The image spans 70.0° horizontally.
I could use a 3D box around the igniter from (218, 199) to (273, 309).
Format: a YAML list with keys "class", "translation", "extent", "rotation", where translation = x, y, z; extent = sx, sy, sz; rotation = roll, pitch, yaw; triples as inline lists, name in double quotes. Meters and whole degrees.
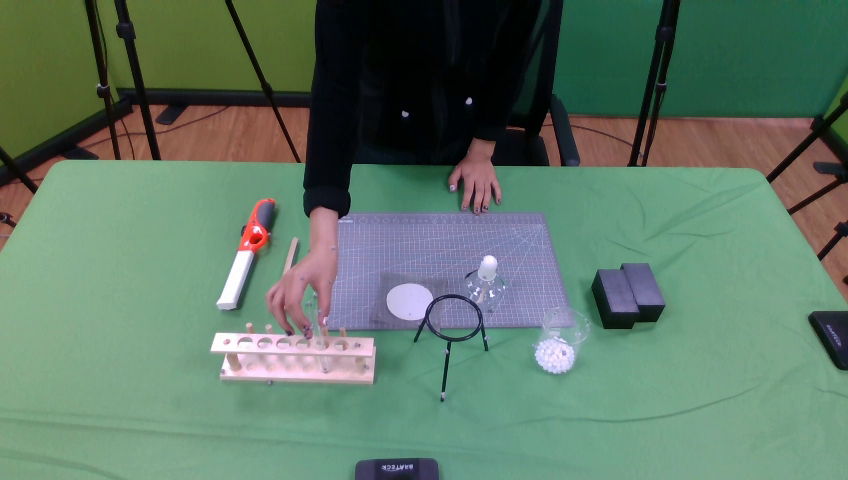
- class: "igniter"
  translation: [-0.335, 0.017, 1.152]
  extent: [0.057, 0.025, 0.275]
  rotation: [-3, 45, 7]

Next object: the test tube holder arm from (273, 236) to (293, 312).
- class: "test tube holder arm"
  translation: [-0.260, 0.058, 1.122]
  extent: [0.013, 0.015, 0.177]
  rotation: [30, 38, -30]

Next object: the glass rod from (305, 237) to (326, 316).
- class: "glass rod"
  translation: [-0.202, 0.063, 1.131]
  extent: [0.008, 0.008, 0.198]
  rotation: [4, 44, 0]

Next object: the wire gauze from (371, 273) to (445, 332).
- class: "wire gauze"
  translation: [-0.028, 0.109, 1.100]
  extent: [0.125, 0.011, 0.121]
  rotation: [7, 45, 4]

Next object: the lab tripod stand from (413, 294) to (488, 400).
- class: "lab tripod stand"
  translation: [0.045, 0.159, 0.972]
  extent: [0.148, 0.132, 0.147]
  rotation: [2, 44, -2]

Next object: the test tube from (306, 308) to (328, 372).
- class: "test tube"
  translation: [-0.161, 0.155, 0.921]
  extent: [0.017, 0.151, 0.017]
  rotation: [0, 46, 0]

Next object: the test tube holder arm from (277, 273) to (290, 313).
- class: "test tube holder arm"
  translation: [-0.254, 0.093, 1.094]
  extent: [0.010, 0.015, 0.087]
  rotation: [31, 38, -29]

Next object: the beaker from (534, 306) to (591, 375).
- class: "beaker"
  translation: [0.226, 0.169, 1.002]
  extent: [0.084, 0.101, 0.073]
  rotation: [-5, 47, -10]

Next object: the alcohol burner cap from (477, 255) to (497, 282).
- class: "alcohol burner cap"
  translation: [0.110, 0.047, 1.046]
  extent: [0.034, 0.048, 0.033]
  rotation: [1, 52, -2]

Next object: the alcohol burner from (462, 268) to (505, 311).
- class: "alcohol burner"
  translation: [0.108, 0.071, 1.073]
  extent: [0.078, 0.119, 0.077]
  rotation: [4, 45, -4]

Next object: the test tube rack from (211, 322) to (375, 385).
- class: "test tube rack"
  translation: [-0.202, 0.176, 0.969]
  extent: [0.242, 0.085, 0.066]
  rotation: [3, 46, -2]
